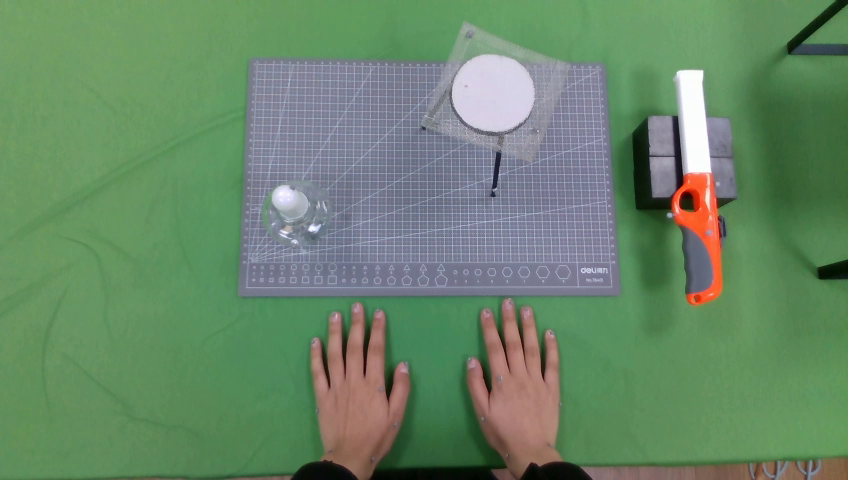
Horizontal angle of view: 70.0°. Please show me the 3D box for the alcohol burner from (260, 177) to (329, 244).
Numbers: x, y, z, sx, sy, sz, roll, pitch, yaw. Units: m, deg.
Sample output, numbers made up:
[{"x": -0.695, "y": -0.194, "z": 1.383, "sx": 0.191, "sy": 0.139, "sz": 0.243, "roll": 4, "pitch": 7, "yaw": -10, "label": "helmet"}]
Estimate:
[{"x": -0.145, "y": -0.036, "z": 0.666, "sx": 0.078, "sy": 0.119, "sz": 0.077, "roll": 1, "pitch": 80, "yaw": -4, "label": "alcohol burner"}]

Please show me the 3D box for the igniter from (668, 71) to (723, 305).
[{"x": 0.307, "y": -0.063, "z": 0.693, "sx": 0.057, "sy": 0.025, "sz": 0.275, "roll": 0, "pitch": 78, "yaw": 3, "label": "igniter"}]

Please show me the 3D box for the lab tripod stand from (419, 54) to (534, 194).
[{"x": 0.068, "y": -0.141, "z": 0.687, "sx": 0.148, "sy": 0.132, "sz": 0.147, "roll": 1, "pitch": 77, "yaw": -2, "label": "lab tripod stand"}]

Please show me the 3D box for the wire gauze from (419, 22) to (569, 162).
[{"x": 0.073, "y": -0.152, "z": 0.621, "sx": 0.121, "sy": 0.011, "sz": 0.124, "roll": 23, "pitch": 77, "yaw": 2, "label": "wire gauze"}]

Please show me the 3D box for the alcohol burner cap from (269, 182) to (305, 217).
[{"x": -0.145, "y": -0.044, "z": 0.631, "sx": 0.034, "sy": 0.048, "sz": 0.033, "roll": 0, "pitch": 80, "yaw": 0, "label": "alcohol burner cap"}]
